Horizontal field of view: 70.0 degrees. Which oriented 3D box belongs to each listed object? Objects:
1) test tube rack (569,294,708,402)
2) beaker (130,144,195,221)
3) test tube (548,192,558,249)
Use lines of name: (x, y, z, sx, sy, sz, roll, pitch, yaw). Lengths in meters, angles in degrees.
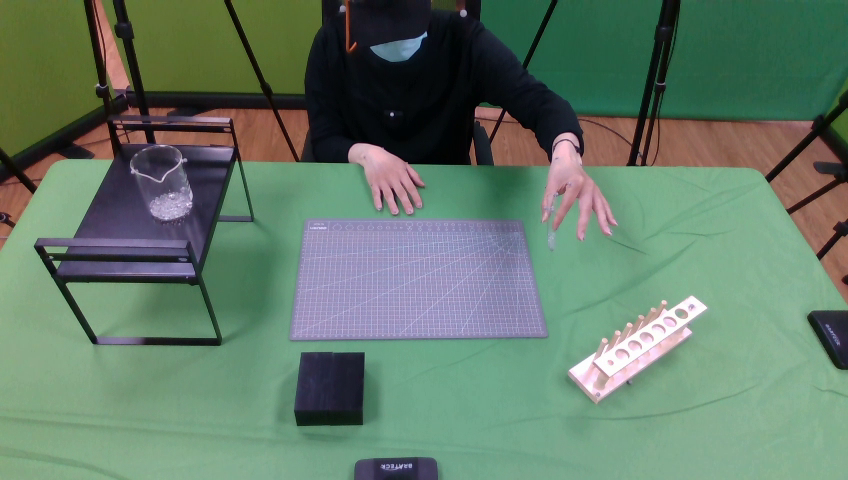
test tube rack: (0.360, 0.167, 1.014, 0.242, 0.085, 0.066, -25, 53, -25)
beaker: (-0.403, -0.085, 0.944, 0.074, 0.101, 0.083, -15, 50, -17)
test tube: (0.220, -0.030, 1.034, 0.017, 0.151, 0.017, -6, 55, 8)
